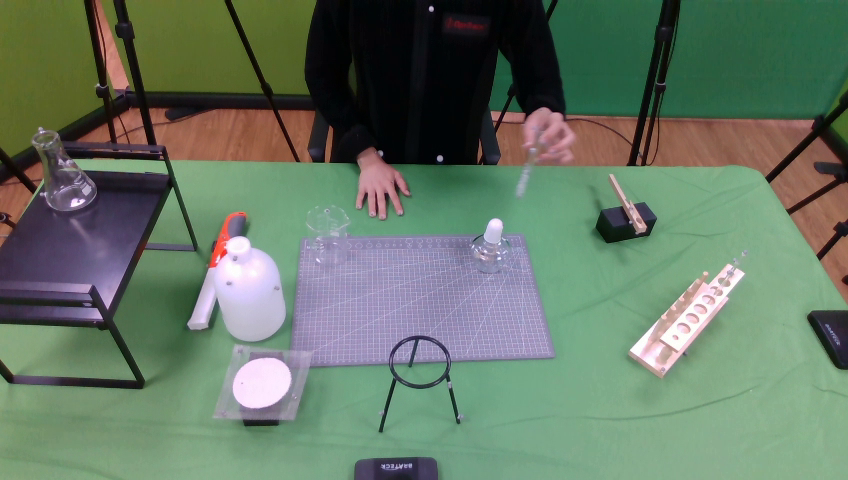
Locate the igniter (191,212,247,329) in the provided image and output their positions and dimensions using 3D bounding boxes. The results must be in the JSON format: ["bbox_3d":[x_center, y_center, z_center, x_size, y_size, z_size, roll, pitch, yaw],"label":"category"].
[{"bbox_3d":[-0.376,0.047,1.121,0.057,0.025,0.275,-4,46,6],"label":"igniter"}]

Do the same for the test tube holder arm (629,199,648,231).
[{"bbox_3d":[0.423,-0.050,1.206,0.010,0.015,0.087,1,42,-12],"label":"test tube holder arm"}]

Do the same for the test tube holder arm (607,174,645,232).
[{"bbox_3d":[0.411,-0.080,1.238,0.013,0.015,0.177,0,42,-13],"label":"test tube holder arm"}]

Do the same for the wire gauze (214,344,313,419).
[{"bbox_3d":[-0.241,0.213,0.915,0.121,0.011,0.124,5,46,1],"label":"wire gauze"}]

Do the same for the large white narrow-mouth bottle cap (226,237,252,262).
[{"bbox_3d":[-0.282,0.014,0.923,0.038,0.024,0.037,2,46,-2],"label":"large white narrow-mouth bottle cap"}]

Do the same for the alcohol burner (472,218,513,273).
[{"bbox_3d":[0.128,0.005,1.132,0.078,0.120,0.077,0,47,0],"label":"alcohol burner"}]

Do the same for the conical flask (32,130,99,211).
[{"bbox_3d":[-0.565,-0.110,0.944,0.075,0.122,0.075,2,46,-2],"label":"conical flask"}]

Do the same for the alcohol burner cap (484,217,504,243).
[{"bbox_3d":[0.130,-0.021,1.106,0.034,0.048,0.033,5,46,-5],"label":"alcohol burner cap"}]

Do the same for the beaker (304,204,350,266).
[{"bbox_3d":[-0.178,-0.006,1.132,0.084,0.101,0.073,4,46,-1],"label":"beaker"}]

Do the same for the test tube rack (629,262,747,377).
[{"bbox_3d":[0.464,0.126,1.060,0.242,0.085,0.066,-34,56,-31],"label":"test tube rack"}]

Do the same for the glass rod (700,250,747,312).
[{"bbox_3d":[0.500,0.075,1.021,0.008,0.201,0.008,0,54,1],"label":"glass rod"}]

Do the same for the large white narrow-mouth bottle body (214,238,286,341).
[{"bbox_3d":[-0.285,0.073,0.986,0.102,0.195,0.101,2,46,-2],"label":"large white narrow-mouth bottle body"}]

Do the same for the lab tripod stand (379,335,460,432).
[{"bbox_3d":[-0.011,0.214,0.911,0.148,0.132,0.147,1,45,0],"label":"lab tripod stand"}]

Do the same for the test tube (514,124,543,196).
[{"bbox_3d":[0.170,-0.127,0.996,0.017,0.151,0.017,4,50,-4],"label":"test tube"}]
